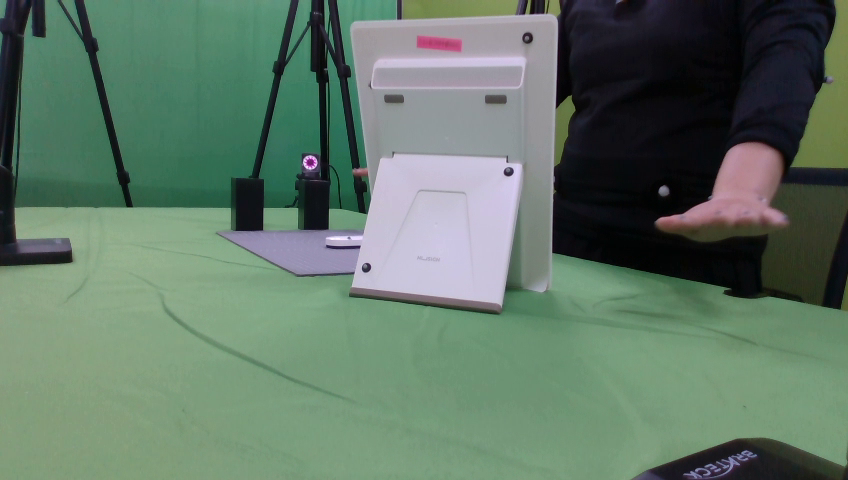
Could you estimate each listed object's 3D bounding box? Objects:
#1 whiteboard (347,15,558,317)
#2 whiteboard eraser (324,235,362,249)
[{"bbox_3d":[0.012,-0.056,0.609,0.216,0.305,0.144,5,27,19],"label":"whiteboard"},{"bbox_3d":[-0.112,0.002,0.974,0.102,0.019,0.041,-1,8,-32],"label":"whiteboard eraser"}]
